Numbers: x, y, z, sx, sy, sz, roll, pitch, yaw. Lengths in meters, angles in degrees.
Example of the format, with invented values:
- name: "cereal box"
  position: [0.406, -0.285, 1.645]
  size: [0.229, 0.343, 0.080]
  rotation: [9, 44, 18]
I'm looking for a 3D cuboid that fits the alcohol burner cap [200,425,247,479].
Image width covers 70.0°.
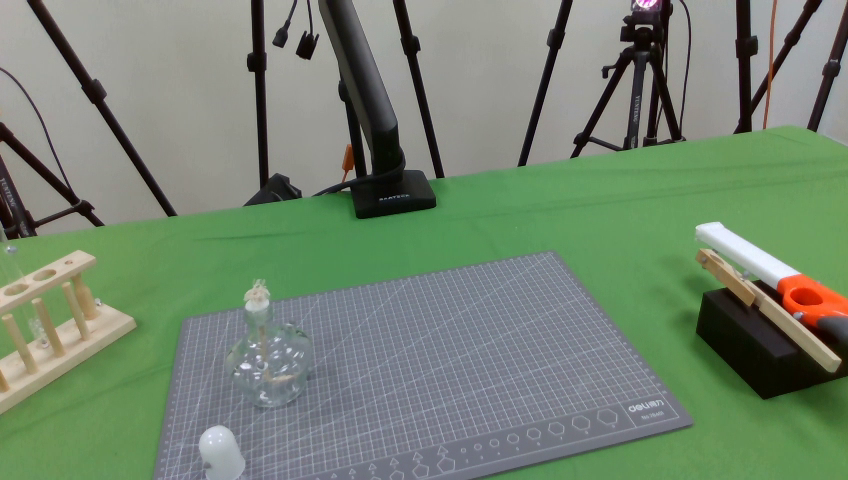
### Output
- name: "alcohol burner cap"
  position: [-0.166, 0.172, 0.494]
  size: [0.034, 0.048, 0.033]
  rotation: [-3, 31, 2]

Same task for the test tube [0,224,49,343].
- name: "test tube"
  position: [-0.409, 0.042, 0.609]
  size: [0.017, 0.151, 0.017]
  rotation: [-4, 28, 3]

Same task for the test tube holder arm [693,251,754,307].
- name: "test tube holder arm"
  position: [0.296, 0.037, 0.597]
  size: [0.010, 0.015, 0.087]
  rotation: [-5, 30, -13]

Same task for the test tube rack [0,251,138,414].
- name: "test tube rack"
  position: [-0.418, 0.110, 0.593]
  size: [0.066, 0.086, 0.242]
  rotation: [16, 36, 30]

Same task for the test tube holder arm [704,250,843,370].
- name: "test tube holder arm"
  position: [0.313, 0.058, 0.561]
  size: [0.013, 0.015, 0.176]
  rotation: [-5, 30, -14]

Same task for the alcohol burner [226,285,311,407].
- name: "alcohol burner"
  position: [-0.145, 0.093, 0.554]
  size: [0.078, 0.120, 0.077]
  rotation: [-3, 29, 2]

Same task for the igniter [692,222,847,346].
- name: "igniter"
  position: [0.350, 0.046, 0.570]
  size: [0.057, 0.025, 0.273]
  rotation: [-11, 28, -10]
